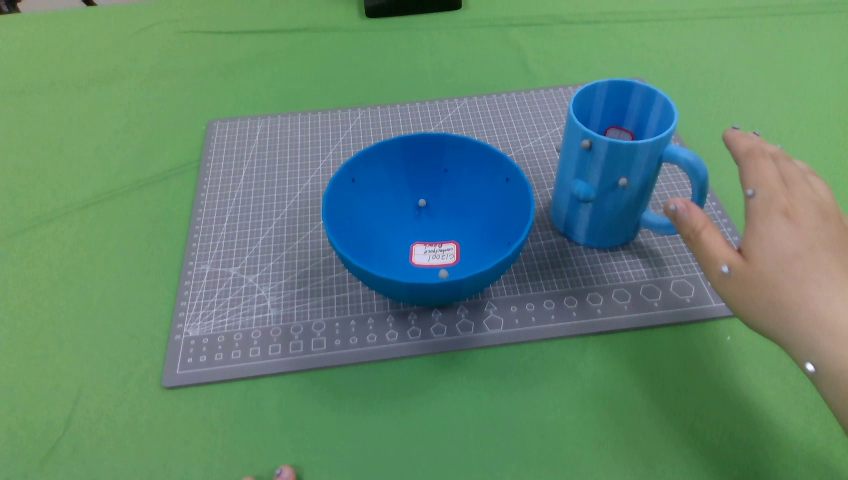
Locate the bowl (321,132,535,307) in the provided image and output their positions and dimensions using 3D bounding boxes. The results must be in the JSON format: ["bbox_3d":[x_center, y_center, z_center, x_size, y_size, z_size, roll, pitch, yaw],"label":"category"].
[{"bbox_3d":[0.004,-0.003,0.452,0.151,0.077,0.150,-1,49,1],"label":"bowl"}]

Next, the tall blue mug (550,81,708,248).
[{"bbox_3d":[0.158,-0.054,0.470,0.107,0.109,0.077,8,49,10],"label":"tall blue mug"}]
